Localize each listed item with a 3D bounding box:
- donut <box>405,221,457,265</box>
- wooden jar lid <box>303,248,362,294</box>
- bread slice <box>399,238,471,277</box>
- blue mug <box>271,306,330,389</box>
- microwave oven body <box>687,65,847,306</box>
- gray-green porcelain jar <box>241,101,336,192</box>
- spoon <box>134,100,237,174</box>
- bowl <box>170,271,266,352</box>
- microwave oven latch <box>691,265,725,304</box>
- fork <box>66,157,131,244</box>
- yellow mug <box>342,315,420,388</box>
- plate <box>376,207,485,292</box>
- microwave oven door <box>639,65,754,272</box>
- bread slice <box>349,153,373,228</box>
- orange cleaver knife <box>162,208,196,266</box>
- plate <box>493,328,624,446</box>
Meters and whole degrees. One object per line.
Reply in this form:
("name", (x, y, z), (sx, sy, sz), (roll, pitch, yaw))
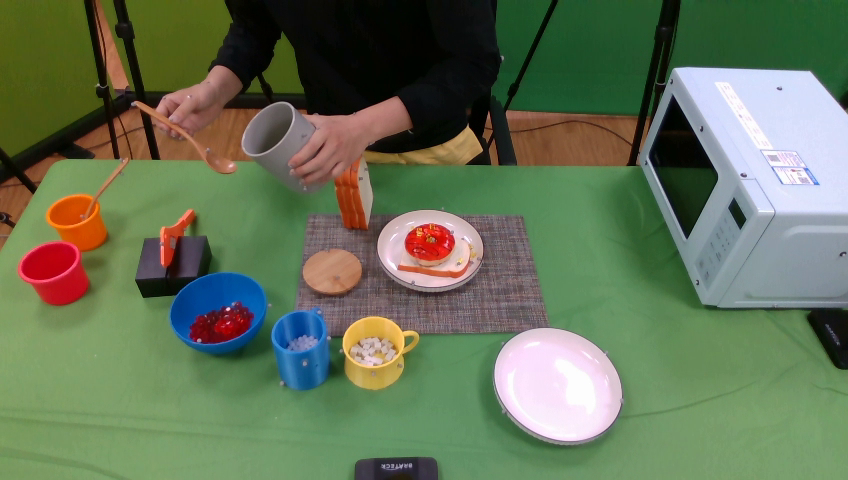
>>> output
("donut", (0.013, 0.004, 1.136), (0.099, 0.048, 0.098), (0, 46, 0))
("wooden jar lid", (-0.169, 0.060, 1.122), (0.108, 0.021, 0.107), (2, 45, -2))
("bread slice", (0.025, 0.025, 1.161), (0.131, 0.019, 0.104), (7, 47, 7))
("blue mug", (-0.188, 0.163, 0.969), (0.082, 0.106, 0.116), (15, 47, 10))
("microwave oven body", (0.669, -0.111, 1.176), (0.326, 0.261, 0.439), (0, 46, -3))
("gray-green porcelain jar", (-0.213, -0.146, 0.985), (0.106, 0.127, 0.105), (-15, 56, 24))
("spoon", (-0.400, -0.174, 1.020), (0.194, 0.021, 0.041), (40, 39, -13))
("bowl", (-0.333, 0.132, 1.006), (0.151, 0.077, 0.150), (2, 46, -2))
("microwave oven latch", (0.521, 0.081, 1.116), (0.030, 0.029, 0.078), (0, 46, -3))
("fork", (-0.608, -0.074, 1.132), (0.207, 0.019, 0.028), (-52, 49, 10))
("yellow mug", (-0.068, 0.177, 0.990), (0.131, 0.064, 0.099), (-15, 50, -20))
("plate", (0.012, 0.021, 1.159), (0.209, 0.038, 0.208), (2, 47, -2))
("microwave oven door", (0.522, -0.147, 1.192), (0.039, 0.245, 0.353), (0, 47, -3))
("bread slice", (-0.125, -0.104, 1.207), (0.018, 0.135, 0.106), (-1, 48, 7))
("orange cleaver knife", (-0.454, -0.010, 1.129), (0.012, 0.077, 0.210), (-1, 17, -6))
("plate", (0.213, 0.236, 0.974), (0.208, 0.039, 0.206), (2, 46, -2))
